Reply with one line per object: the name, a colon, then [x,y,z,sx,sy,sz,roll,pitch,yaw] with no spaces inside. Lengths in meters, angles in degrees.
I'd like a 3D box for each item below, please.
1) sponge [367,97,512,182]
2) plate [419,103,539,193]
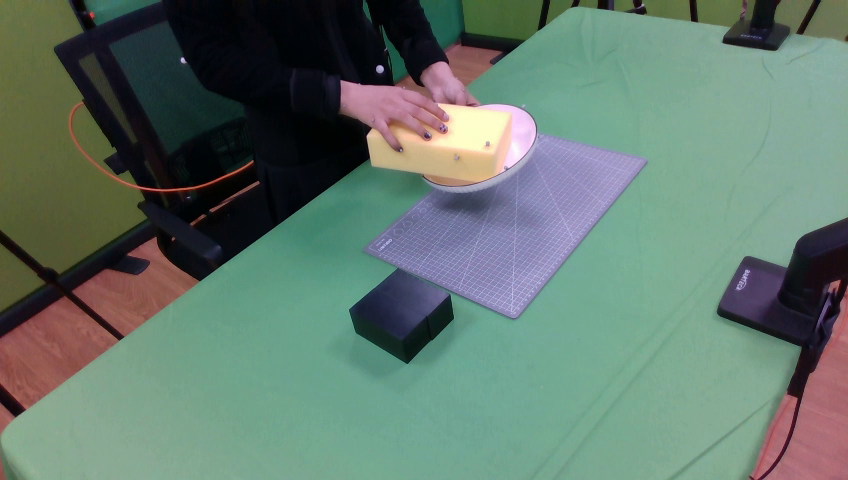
sponge: [0.028,-0.163,0.971,0.206,0.061,0.118,10,47,14]
plate: [0.088,-0.149,1.001,0.208,0.038,0.208,-13,45,14]
